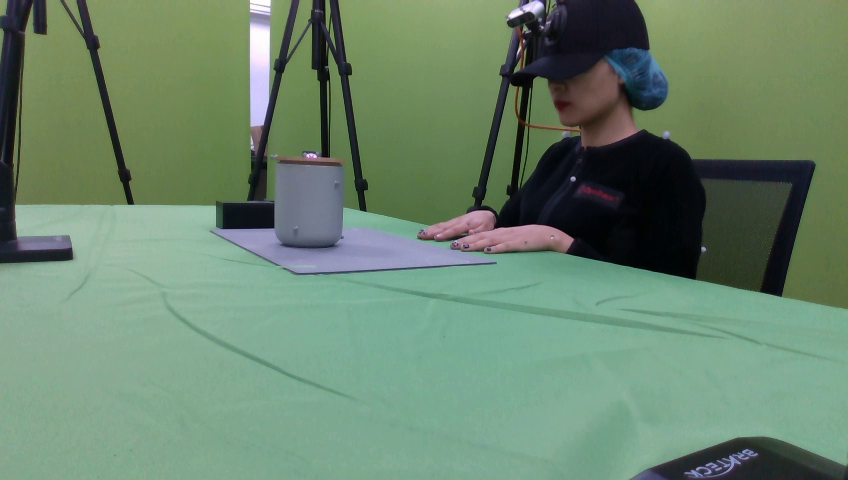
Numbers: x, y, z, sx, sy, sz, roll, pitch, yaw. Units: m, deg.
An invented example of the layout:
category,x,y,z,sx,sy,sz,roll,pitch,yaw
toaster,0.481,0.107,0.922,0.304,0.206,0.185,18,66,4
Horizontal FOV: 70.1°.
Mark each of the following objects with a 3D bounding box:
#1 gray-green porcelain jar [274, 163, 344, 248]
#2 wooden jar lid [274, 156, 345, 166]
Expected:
category,x,y,z,sx,sy,sz,roll,pitch,yaw
gray-green porcelain jar,-0.180,-0.055,0.945,0.106,0.126,0.106,2,7,0
wooden jar lid,-0.177,-0.119,0.936,0.108,0.020,0.108,2,8,0
